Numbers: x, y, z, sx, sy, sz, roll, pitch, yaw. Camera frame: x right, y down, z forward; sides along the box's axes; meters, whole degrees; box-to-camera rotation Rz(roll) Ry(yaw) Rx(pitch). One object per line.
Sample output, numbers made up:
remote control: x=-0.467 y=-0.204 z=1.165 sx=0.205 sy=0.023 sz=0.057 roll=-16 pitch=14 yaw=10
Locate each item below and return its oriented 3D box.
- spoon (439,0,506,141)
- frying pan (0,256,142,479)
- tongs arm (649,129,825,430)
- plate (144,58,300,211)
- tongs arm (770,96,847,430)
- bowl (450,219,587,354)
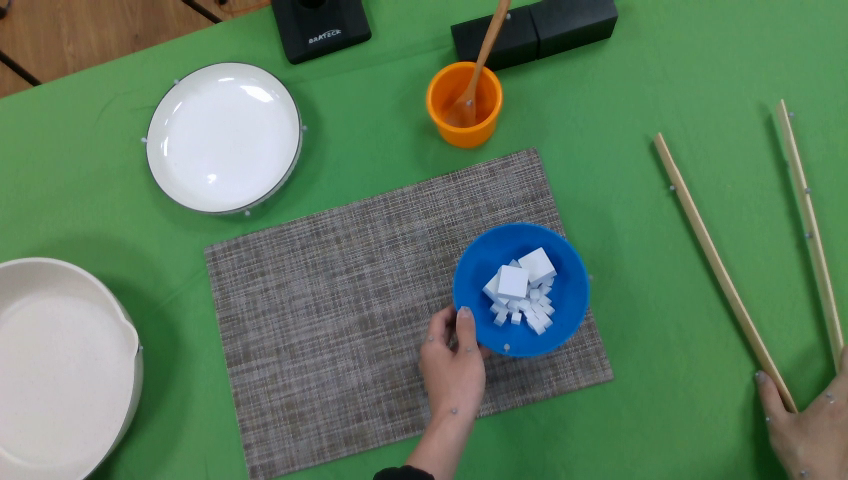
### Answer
spoon: x=0.061 y=-0.205 z=0.725 sx=0.041 sy=0.195 sz=0.021 roll=33 pitch=39 yaw=14
frying pan: x=-0.449 y=0.259 z=0.707 sx=0.307 sy=0.103 sz=0.484 roll=-19 pitch=69 yaw=3
tongs arm: x=0.354 y=0.040 z=0.708 sx=0.028 sy=0.028 sz=0.385 roll=-22 pitch=78 yaw=-1
plate: x=-0.261 y=-0.136 z=0.800 sx=0.207 sy=0.039 sz=0.206 roll=-1 pitch=79 yaw=6
tongs arm: x=0.432 y=0.019 z=0.701 sx=0.051 sy=0.026 sz=0.383 roll=-10 pitch=80 yaw=4
bowl: x=0.107 y=0.058 z=0.700 sx=0.151 sy=0.077 sz=0.150 roll=-1 pitch=78 yaw=6
